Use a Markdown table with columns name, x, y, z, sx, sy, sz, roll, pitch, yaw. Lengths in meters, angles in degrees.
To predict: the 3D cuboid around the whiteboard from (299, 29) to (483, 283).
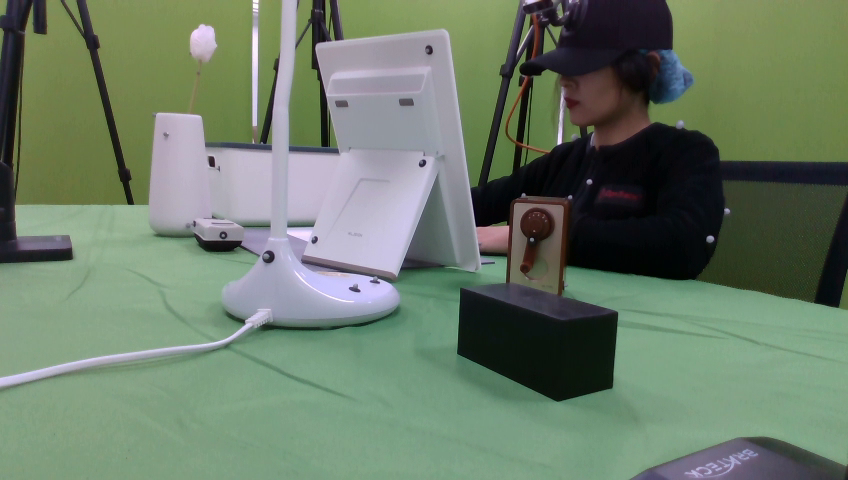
| name | x | y | z | sx | sy | sz | roll | pitch | yaw |
| --- | --- | --- | --- | --- | --- | --- | --- | --- | --- |
| whiteboard | -0.074 | -0.082 | 0.742 | 0.216 | 0.305 | 0.144 | 9 | 29 | 38 |

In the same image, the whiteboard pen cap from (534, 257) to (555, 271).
| name | x | y | z | sx | sy | sz | roll | pitch | yaw |
| --- | --- | --- | --- | --- | --- | --- | --- | --- | --- |
| whiteboard pen cap | 0.167 | 0.033 | 0.839 | 0.018 | 0.018 | 0.033 | -1 | 6 | -23 |

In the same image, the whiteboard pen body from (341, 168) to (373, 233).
| name | x | y | z | sx | sy | sz | roll | pitch | yaw |
| --- | --- | --- | --- | --- | --- | --- | --- | --- | --- |
| whiteboard pen body | -0.124 | -0.073 | 1.108 | 0.017 | 0.140 | 0.017 | 17 | -25 | 8 |

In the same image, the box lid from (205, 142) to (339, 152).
| name | x | y | z | sx | sy | sz | roll | pitch | yaw |
| --- | --- | --- | --- | --- | --- | --- | --- | --- | --- |
| box lid | -0.270 | -0.196 | 1.310 | 0.373 | 0.015 | 0.262 | -2 | 9 | -30 |

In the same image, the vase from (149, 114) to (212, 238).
| name | x | y | z | sx | sy | sz | roll | pitch | yaw |
| --- | --- | --- | --- | --- | --- | --- | --- | --- | --- |
| vase | -0.405 | -0.106 | 1.005 | 0.098 | 0.200 | 0.098 | 2 | 6 | 0 |

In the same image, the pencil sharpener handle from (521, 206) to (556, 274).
| name | x | y | z | sx | sy | sz | roll | pitch | yaw |
| --- | --- | --- | --- | --- | --- | --- | --- | --- | --- |
| pencil sharpener handle | 0.112 | 0.000 | 0.613 | 0.036 | 0.067 | 0.031 | 12 | 10 | 14 |

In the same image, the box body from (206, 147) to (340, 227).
| name | x | y | z | sx | sy | sz | roll | pitch | yaw |
| --- | --- | --- | --- | --- | --- | --- | --- | --- | --- |
| box body | -0.276 | -0.122 | 1.320 | 0.366 | 0.160 | 0.253 | -2 | 9 | -30 |

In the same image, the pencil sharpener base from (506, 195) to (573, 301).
| name | x | y | z | sx | sy | sz | roll | pitch | yaw |
| --- | --- | --- | --- | --- | --- | --- | --- | --- | --- |
| pencil sharpener base | 0.127 | 0.007 | 0.663 | 0.061 | 0.107 | 0.077 | 5 | 8 | 15 |

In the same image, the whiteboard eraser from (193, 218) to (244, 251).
| name | x | y | z | sx | sy | sz | roll | pitch | yaw |
| --- | --- | --- | --- | --- | --- | --- | --- | --- | --- |
| whiteboard eraser | -0.307 | -0.009 | 0.900 | 0.056 | 0.042 | 0.112 | -4 | 10 | -28 |

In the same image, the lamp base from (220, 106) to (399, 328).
| name | x | y | z | sx | sy | sz | roll | pitch | yaw |
| --- | --- | --- | --- | --- | --- | --- | --- | --- | --- |
| lamp base | -0.102 | -0.023 | 0.531 | 0.160 | 0.180 | 0.179 | 4 | 10 | 10 |

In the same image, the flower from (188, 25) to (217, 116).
| name | x | y | z | sx | sy | sz | roll | pitch | yaw |
| --- | --- | --- | --- | --- | --- | --- | --- | --- | --- |
| flower | -0.394 | -0.189 | 1.011 | 0.044 | 0.361 | 0.038 | -1 | -13 | 27 |
